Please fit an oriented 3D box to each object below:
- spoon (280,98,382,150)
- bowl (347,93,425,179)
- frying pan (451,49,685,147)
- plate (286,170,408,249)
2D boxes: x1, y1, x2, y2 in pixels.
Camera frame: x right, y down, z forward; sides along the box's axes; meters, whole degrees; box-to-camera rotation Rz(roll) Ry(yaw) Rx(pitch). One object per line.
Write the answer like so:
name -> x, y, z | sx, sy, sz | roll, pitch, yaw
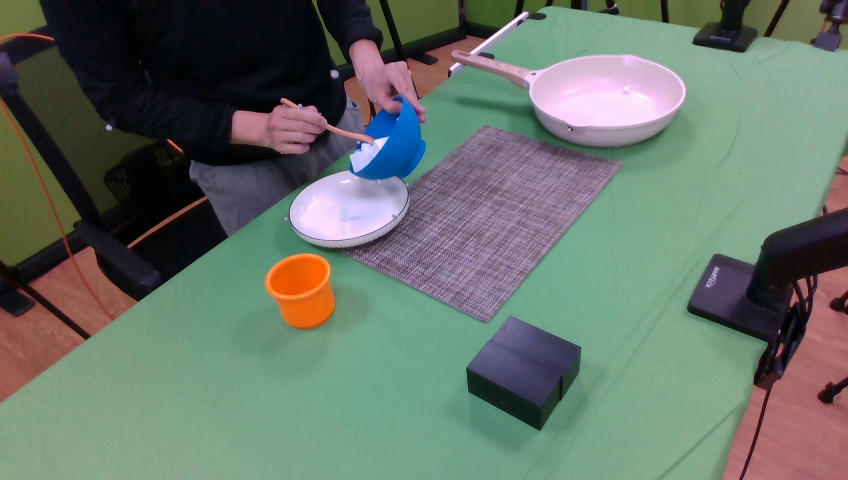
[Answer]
spoon -> -0.144, -0.183, 0.987 | 0.195, 0.021, 0.041 | 21, 7, -21
bowl -> -0.052, -0.155, 0.990 | 0.151, 0.077, 0.150 | -40, 32, 33
frying pan -> 0.269, -0.316, 1.233 | 0.485, 0.103, 0.307 | 26, 49, 21
plate -> -0.127, -0.050, 1.028 | 0.207, 0.039, 0.206 | -5, 39, 5
